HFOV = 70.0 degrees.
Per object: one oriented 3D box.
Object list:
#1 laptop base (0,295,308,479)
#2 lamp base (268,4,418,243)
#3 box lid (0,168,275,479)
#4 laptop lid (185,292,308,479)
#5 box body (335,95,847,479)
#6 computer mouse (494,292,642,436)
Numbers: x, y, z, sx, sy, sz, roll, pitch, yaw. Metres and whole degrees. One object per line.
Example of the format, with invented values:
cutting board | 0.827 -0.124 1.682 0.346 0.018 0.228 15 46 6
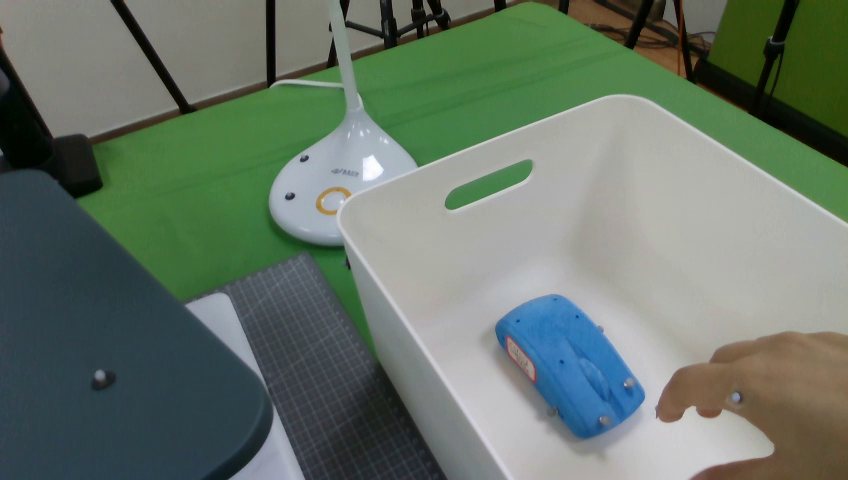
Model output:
laptop base | -0.269 0.186 0.408 0.355 0.023 0.233 -23 51 -18
lamp base | -0.087 -0.118 0.585 0.160 0.182 0.177 1 42 6
box lid | -0.275 0.066 0.305 0.263 0.015 0.368 -32 44 -33
laptop lid | -0.269 0.179 0.398 0.357 0.013 0.239 -22 49 -17
box body | 0.137 0.090 0.367 0.254 0.162 0.360 -24 47 -18
computer mouse | 0.106 0.087 0.453 0.063 0.041 0.116 -23 52 -20
